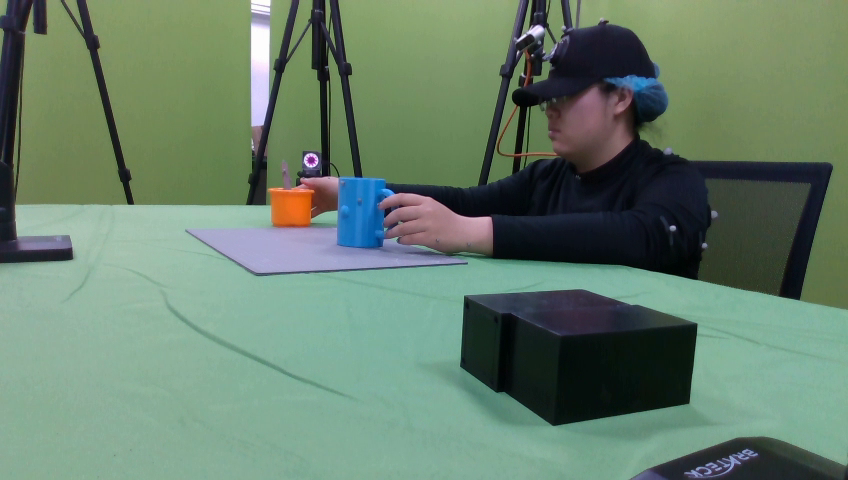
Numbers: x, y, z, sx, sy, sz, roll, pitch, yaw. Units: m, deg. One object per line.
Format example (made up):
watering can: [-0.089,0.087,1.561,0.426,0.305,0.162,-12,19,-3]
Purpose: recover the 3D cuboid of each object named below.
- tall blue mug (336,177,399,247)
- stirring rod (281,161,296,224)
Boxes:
tall blue mug: [-0.086,-0.045,0.971,0.107,0.108,0.078,4,7,9]
stirring rod: [-0.278,-0.099,1.238,0.014,0.006,0.175,2,49,-24]
